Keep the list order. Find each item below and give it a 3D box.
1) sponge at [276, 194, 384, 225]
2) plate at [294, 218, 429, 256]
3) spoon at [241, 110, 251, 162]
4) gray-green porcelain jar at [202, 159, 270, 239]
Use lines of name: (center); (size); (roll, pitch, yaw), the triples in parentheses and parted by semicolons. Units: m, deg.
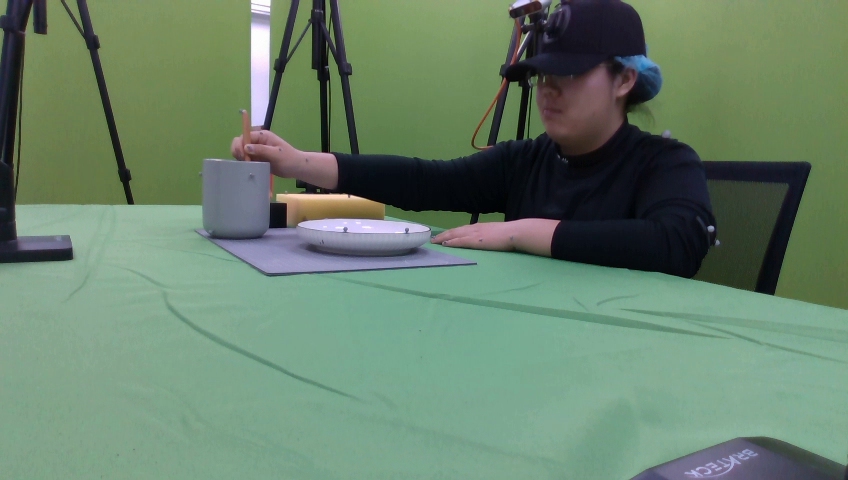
sponge: (-0.203, -0.066, 1.311); (0.208, 0.061, 0.117); (-2, 8, -35)
plate: (-0.096, -0.005, 0.936); (0.208, 0.039, 0.207); (3, 7, 0)
spoon: (-0.297, -0.119, 1.008); (0.021, 0.193, 0.042); (4, 1, 41)
gray-green porcelain jar: (-0.310, -0.068, 0.999); (0.106, 0.126, 0.106); (3, 8, 0)
